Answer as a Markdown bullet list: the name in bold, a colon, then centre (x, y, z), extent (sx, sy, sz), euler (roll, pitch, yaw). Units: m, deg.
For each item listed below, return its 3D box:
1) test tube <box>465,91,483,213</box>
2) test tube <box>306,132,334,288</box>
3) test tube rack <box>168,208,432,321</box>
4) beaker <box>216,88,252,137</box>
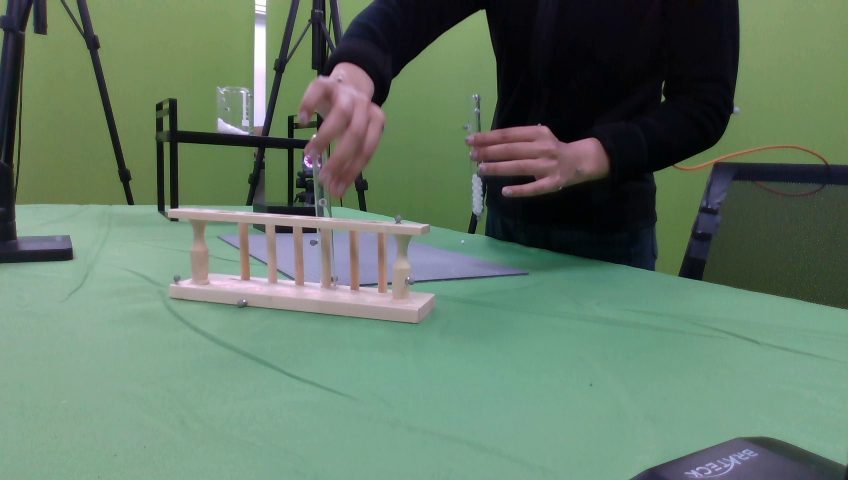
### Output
- **test tube**: centre (0.061, -0.106, 0.745), extent (0.017, 0.150, 0.017), euler (-4, 14, 1)
- **test tube**: centre (-0.100, -0.028, 0.583), extent (0.017, 0.150, 0.017), euler (-4, 6, 1)
- **test tube rack**: centre (-0.116, 0.018, 0.573), extent (0.242, 0.085, 0.067), euler (4, 7, 13)
- **beaker**: centre (-0.412, -0.276, 1.309), extent (0.074, 0.100, 0.084), euler (4, 8, 16)
